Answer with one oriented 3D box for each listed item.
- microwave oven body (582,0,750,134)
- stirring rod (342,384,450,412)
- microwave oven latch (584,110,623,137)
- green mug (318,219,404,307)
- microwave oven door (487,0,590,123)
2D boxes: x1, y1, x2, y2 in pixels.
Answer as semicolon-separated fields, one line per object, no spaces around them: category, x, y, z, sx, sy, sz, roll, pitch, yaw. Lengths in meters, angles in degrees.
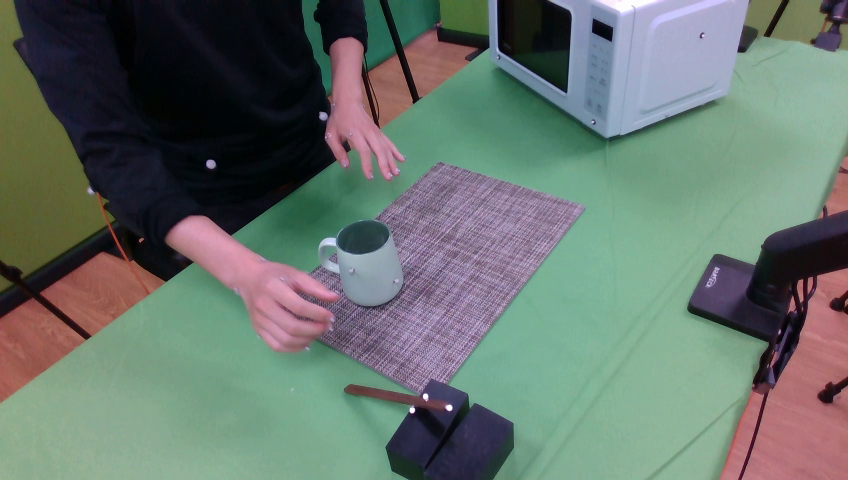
microwave oven body;0.382;-0.445;1.246;0.327;0.261;0.437;-22;42;-16
stirring rod;-0.038;0.186;0.714;0.175;0.006;0.014;-3;22;43
microwave oven latch;0.337;-0.222;1.142;0.030;0.029;0.078;-21;42;-14
green mug;-0.095;0.032;0.876;0.125;0.105;0.092;8;43;17
microwave oven door;0.232;-0.420;1.230;0.039;0.245;0.352;-22;43;-16
